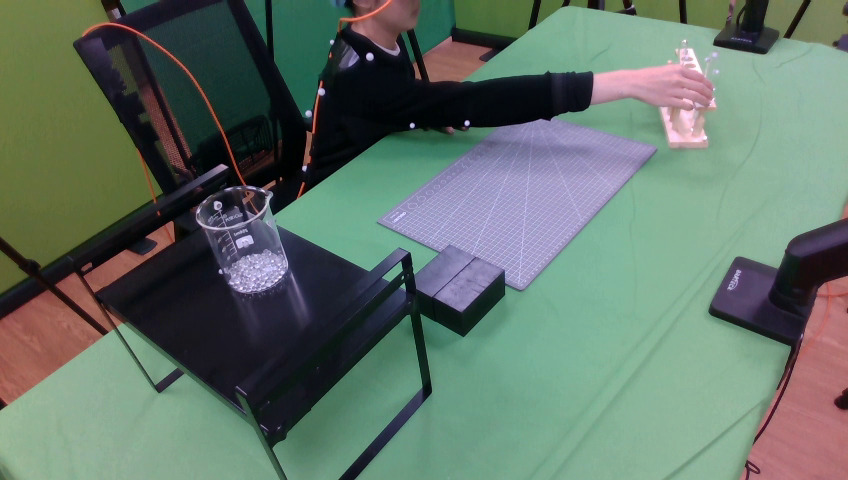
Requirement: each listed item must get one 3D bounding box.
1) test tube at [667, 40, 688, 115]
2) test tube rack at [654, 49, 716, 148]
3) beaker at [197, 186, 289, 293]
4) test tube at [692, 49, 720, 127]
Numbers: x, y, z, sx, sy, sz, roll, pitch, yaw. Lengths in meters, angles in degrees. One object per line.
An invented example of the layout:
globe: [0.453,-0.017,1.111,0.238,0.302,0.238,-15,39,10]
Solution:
test tube: [0.477,-0.303,1.139,0.017,0.151,0.017,-5,42,5]
test tube rack: [0.502,-0.281,1.176,0.066,0.085,0.241,1,41,11]
beaker: [-0.192,0.001,0.666,0.084,0.101,0.073,-33,47,-27]
test tube: [0.505,-0.269,1.086,0.017,0.151,0.017,-2,40,2]
